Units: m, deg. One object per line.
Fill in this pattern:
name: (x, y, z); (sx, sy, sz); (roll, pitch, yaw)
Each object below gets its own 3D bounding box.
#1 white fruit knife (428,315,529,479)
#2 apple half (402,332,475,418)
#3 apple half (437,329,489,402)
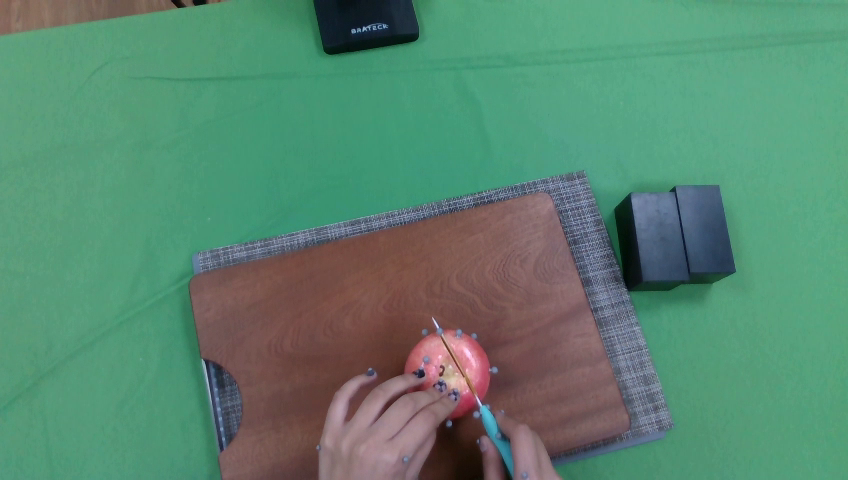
white fruit knife: (0.053, 0.160, 0.558); (0.016, 0.027, 0.206); (-28, 82, -11)
apple half: (0.007, 0.135, 0.577); (0.053, 0.075, 0.080); (-31, 81, -6)
apple half: (0.042, 0.116, 0.585); (0.033, 0.081, 0.081); (-29, 77, -10)
